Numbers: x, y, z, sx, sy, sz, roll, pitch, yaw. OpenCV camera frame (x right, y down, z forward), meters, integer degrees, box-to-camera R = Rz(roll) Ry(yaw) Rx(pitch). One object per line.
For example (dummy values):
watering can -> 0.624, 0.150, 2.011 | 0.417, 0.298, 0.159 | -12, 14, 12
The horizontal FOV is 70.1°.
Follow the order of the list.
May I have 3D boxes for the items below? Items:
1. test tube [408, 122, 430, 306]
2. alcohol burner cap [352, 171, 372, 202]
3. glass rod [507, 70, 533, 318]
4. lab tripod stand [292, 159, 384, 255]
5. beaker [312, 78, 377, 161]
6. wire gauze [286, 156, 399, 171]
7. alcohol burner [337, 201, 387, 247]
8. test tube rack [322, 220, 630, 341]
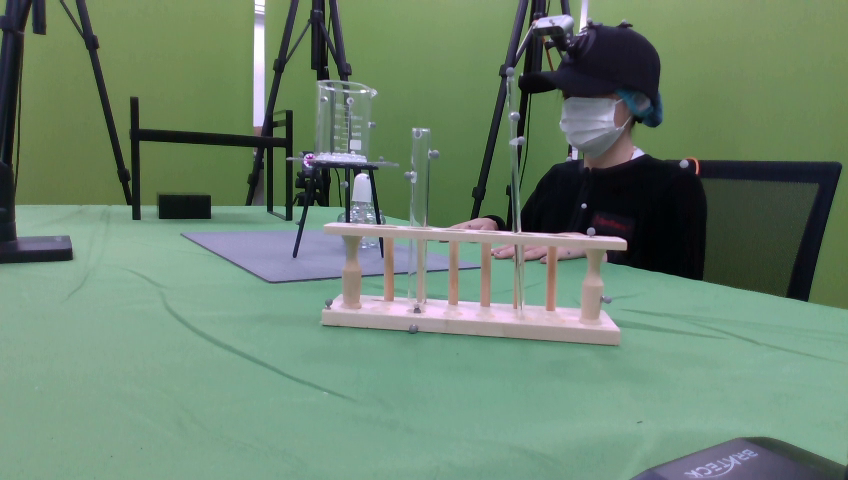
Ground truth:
test tube -> -0.004, -0.019, 0.489 | 0.017, 0.150, 0.017 | 1, 11, 0
alcohol burner cap -> -0.096, -0.084, 0.951 | 0.034, 0.048, 0.034 | 6, 5, 0
glass rod -> 0.076, -0.031, 0.476 | 0.008, 0.199, 0.008 | -6, 12, 2
lab tripod stand -> -0.105, -0.039, 0.797 | 0.148, 0.131, 0.148 | 2, 5, 0
beaker -> -0.103, -0.151, 0.776 | 0.084, 0.100, 0.074 | 5, 7, 14
wire gauze -> -0.101, -0.103, 0.788 | 0.121, 0.011, 0.125 | 5, 4, 6
alcohol burner -> -0.098, -0.049, 0.954 | 0.078, 0.119, 0.078 | 0, 6, 0
test tube rack -> 0.041, 0.029, 0.512 | 0.242, 0.085, 0.067 | 3, 7, 5
